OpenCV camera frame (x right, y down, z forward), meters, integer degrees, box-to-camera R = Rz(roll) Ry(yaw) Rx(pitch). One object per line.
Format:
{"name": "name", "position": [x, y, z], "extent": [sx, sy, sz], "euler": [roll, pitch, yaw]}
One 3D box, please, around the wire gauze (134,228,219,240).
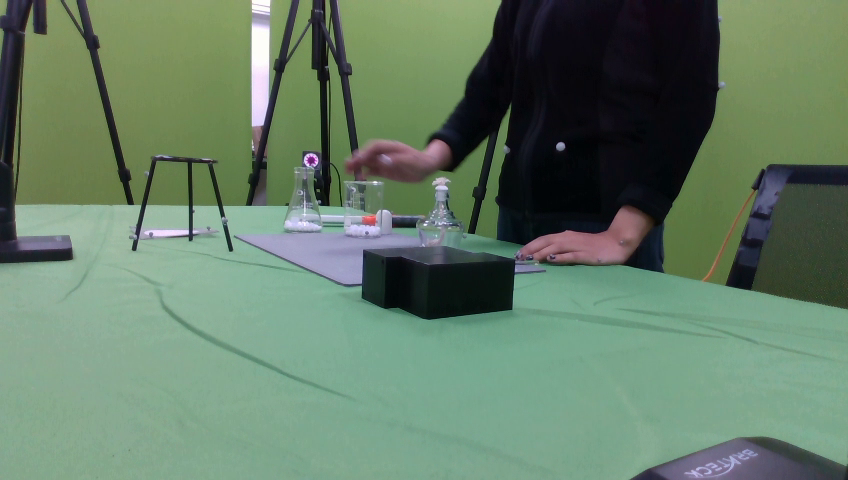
{"name": "wire gauze", "position": [-0.421, -0.014, 1.024], "extent": [0.122, 0.011, 0.124], "euler": [-2, 7, -34]}

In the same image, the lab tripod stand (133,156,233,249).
{"name": "lab tripod stand", "position": [-0.342, -0.054, 0.878], "extent": [0.148, 0.131, 0.148], "euler": [4, 6, 0]}

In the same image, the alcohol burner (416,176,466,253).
{"name": "alcohol burner", "position": [0.027, -0.039, 0.934], "extent": [0.078, 0.119, 0.078], "euler": [2, 9, 0]}

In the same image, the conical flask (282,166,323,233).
{"name": "conical flask", "position": [-0.225, -0.077, 1.129], "extent": [0.075, 0.122, 0.075], "euler": [2, 8, 0]}

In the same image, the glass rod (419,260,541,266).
{"name": "glass rod", "position": [0.080, 0.031, 0.807], "extent": [0.201, 0.008, 0.008], "euler": [1, 7, -32]}

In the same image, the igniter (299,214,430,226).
{"name": "igniter", "position": [-0.123, -0.044, 1.281], "extent": [0.278, 0.025, 0.057], "euler": [0, -3, -19]}

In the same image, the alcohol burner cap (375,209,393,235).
{"name": "alcohol burner cap", "position": [-0.075, -0.035, 1.150], "extent": [0.034, 0.048, 0.034], "euler": [3, 7, 0]}

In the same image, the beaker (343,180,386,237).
{"name": "beaker", "position": [-0.111, -0.058, 1.090], "extent": [0.083, 0.100, 0.074], "euler": [7, 8, 33]}
